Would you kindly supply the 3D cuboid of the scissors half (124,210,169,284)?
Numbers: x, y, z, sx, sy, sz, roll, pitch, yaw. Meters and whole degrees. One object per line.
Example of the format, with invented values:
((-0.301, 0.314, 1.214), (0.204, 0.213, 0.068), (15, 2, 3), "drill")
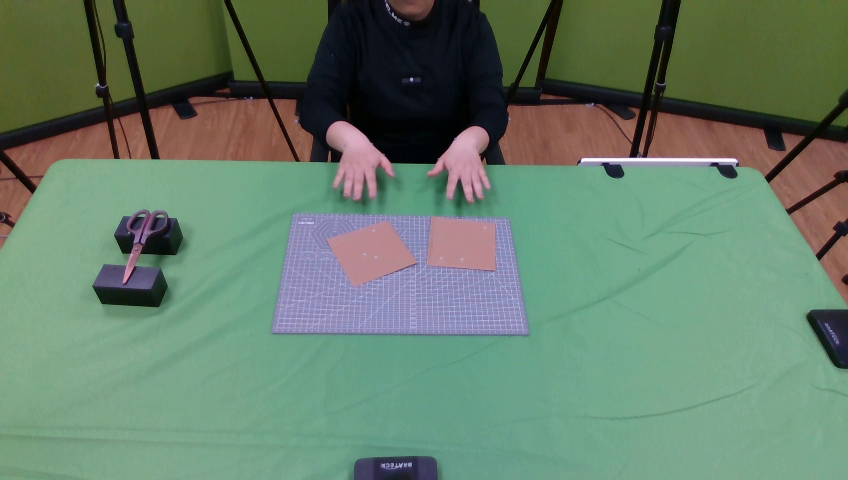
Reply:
((-0.501, 0.010, 1.088), (0.040, 0.013, 0.174), (8, 48, 1), "scissors half")

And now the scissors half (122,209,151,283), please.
((-0.521, 0.009, 1.085), (0.040, 0.013, 0.174), (0, 48, -14), "scissors half")

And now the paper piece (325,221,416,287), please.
((-0.105, 0.022, 1.174), (0.135, 0.004, 0.135), (-19, 50, -21), "paper piece")

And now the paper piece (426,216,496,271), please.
((0.075, 0.006, 1.204), (0.138, 0.009, 0.135), (6, 49, 1), "paper piece")
